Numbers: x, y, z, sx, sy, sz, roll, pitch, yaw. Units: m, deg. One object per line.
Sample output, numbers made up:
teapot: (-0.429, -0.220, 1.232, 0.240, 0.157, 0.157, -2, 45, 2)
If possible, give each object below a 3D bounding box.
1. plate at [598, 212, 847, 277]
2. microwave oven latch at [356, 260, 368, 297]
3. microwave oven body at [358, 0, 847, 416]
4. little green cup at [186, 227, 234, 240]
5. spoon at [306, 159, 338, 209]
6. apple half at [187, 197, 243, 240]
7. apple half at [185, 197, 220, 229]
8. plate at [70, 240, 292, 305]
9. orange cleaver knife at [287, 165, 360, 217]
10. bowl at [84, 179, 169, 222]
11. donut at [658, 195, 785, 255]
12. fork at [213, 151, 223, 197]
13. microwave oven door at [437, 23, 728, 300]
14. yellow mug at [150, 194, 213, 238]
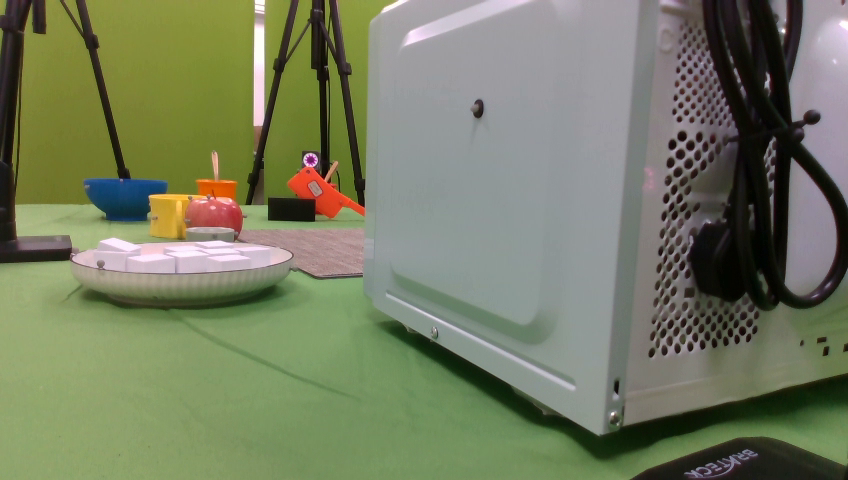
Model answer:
plate: (0.255, 0.001, 0.518, 0.209, 0.038, 0.209, 2, 6, 0)
microwave oven latch: (-0.019, 0.033, 0.531, 0.079, 0.029, 0.030, -1, 7, -27)
microwave oven body: (0.211, -0.047, 0.475, 0.444, 0.260, 0.324, -1, 8, -28)
little green cup: (-0.284, 0.005, 0.805, 0.061, 0.038, 0.061, 2, 8, 0)
spoon: (-0.257, -0.147, 1.567, 0.041, 0.022, 0.193, 1, 51, 20)
apple half: (-0.305, -0.026, 0.907, 0.053, 0.074, 0.081, 12, 8, 31)
apple half: (-0.338, -0.031, 0.927, 0.032, 0.081, 0.081, 12, 12, 31)
plate: (-0.242, 0.031, 0.618, 0.208, 0.039, 0.207, 2, 8, 0)
orange cleaver knife: (-0.211, -0.093, 1.382, 0.212, 0.077, 0.012, 33, 1, -15)
bowl: (-0.584, -0.078, 1.194, 0.151, 0.077, 0.151, 3, 8, 0)
donut: (0.252, -0.012, 0.517, 0.099, 0.048, 0.099, 4, 8, 0)
fork: (-0.494, -0.143, 1.442, 0.028, 0.018, 0.206, -2, 52, -20)
microwave oven door: (0.180, -0.072, 0.621, 0.358, 0.243, 0.039, -2, 8, -29)
yellow mug: (-0.401, -0.040, 1.003, 0.100, 0.064, 0.130, -1, 9, -20)
